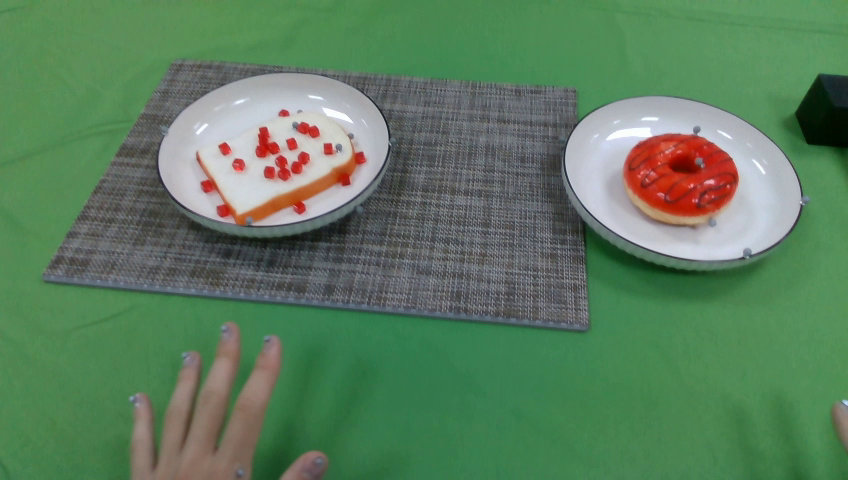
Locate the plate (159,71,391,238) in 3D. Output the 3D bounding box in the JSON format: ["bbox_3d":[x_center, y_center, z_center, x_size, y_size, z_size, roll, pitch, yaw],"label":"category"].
[{"bbox_3d":[-0.135,-0.080,0.566,0.209,0.038,0.207,0,53,0],"label":"plate"}]

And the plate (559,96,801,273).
[{"bbox_3d":[0.226,-0.051,0.553,0.208,0.039,0.205,1,52,0],"label":"plate"}]

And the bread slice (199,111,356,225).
[{"bbox_3d":[-0.133,-0.076,0.565,0.131,0.019,0.104,-29,58,-20],"label":"bread slice"}]

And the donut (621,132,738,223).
[{"bbox_3d":[0.227,-0.057,0.543,0.099,0.049,0.098,-1,53,2],"label":"donut"}]
